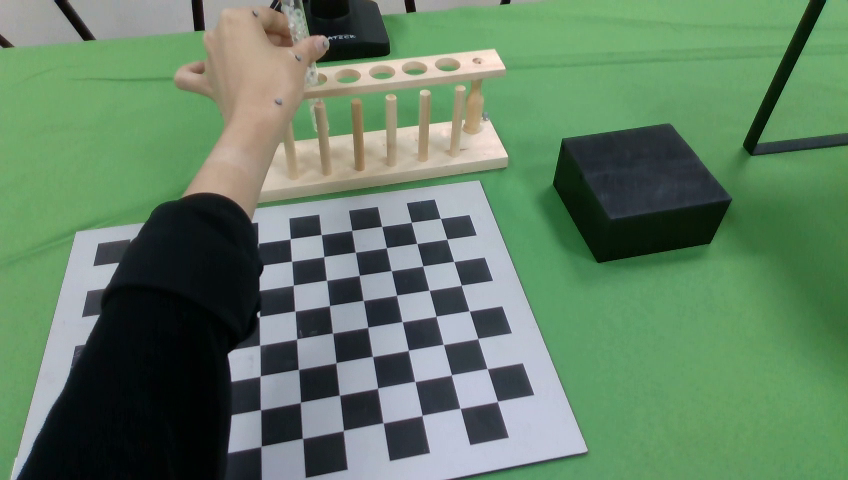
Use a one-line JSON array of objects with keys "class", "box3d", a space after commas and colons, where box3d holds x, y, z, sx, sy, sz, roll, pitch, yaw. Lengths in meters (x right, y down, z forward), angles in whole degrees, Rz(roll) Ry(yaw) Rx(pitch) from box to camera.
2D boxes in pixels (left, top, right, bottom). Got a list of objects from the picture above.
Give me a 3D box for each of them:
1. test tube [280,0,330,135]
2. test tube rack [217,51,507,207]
[{"class": "test tube", "box3d": [-0.096, -0.144, 0.490, 0.017, 0.151, 0.017, -2, 50, 3]}, {"class": "test tube rack", "box3d": [-0.048, -0.099, 0.534, 0.243, 0.086, 0.066, -9, 47, -9]}]
